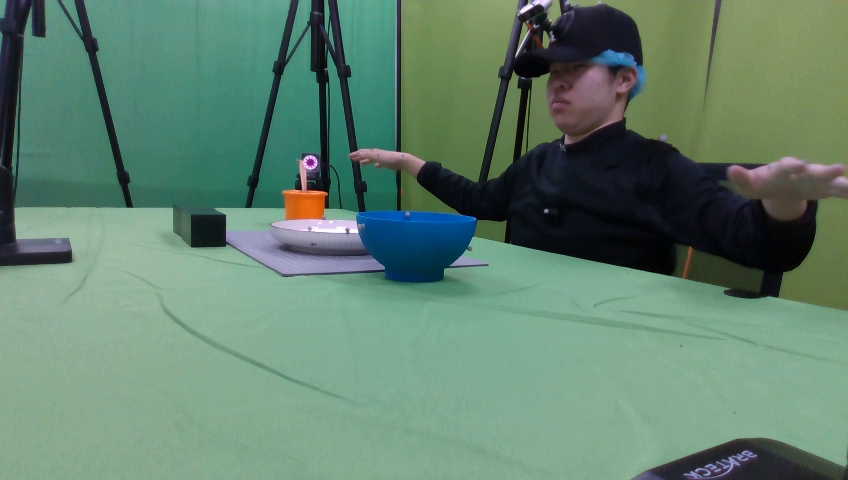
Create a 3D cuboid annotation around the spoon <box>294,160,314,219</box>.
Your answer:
[{"bbox_3d":[-0.253,-0.102,1.270,0.042,0.193,0.021,3,-38,-17],"label":"spoon"}]

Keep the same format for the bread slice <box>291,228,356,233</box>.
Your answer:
[{"bbox_3d":[-0.143,-0.003,0.953,0.135,0.018,0.106,-1,8,-37],"label":"bread slice"}]

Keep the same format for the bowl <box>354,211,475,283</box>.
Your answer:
[{"bbox_3d":[-0.013,0.008,0.749,0.151,0.077,0.151,2,7,0],"label":"bowl"}]

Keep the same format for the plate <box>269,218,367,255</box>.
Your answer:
[{"bbox_3d":[-0.140,-0.006,0.958,0.209,0.038,0.209,3,7,0],"label":"plate"}]
